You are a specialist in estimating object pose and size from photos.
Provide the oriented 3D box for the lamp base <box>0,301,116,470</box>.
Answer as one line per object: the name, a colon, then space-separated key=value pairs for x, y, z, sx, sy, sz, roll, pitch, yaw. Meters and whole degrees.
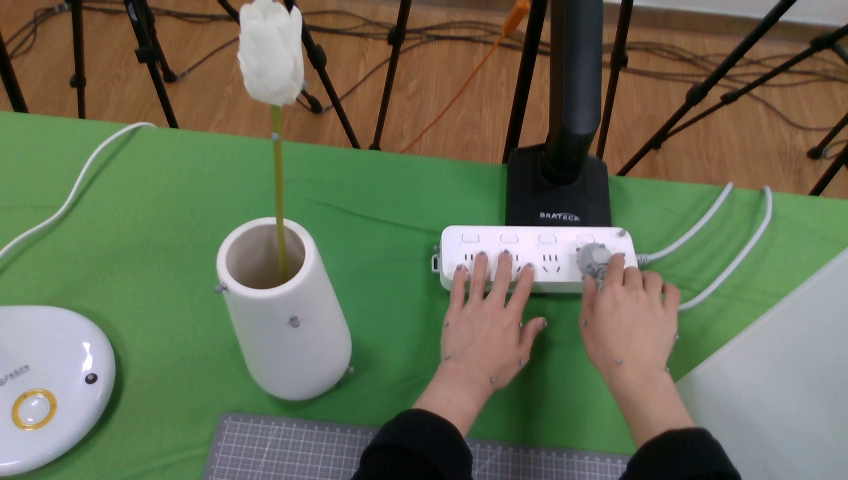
lamp base: x=-0.378 y=0.083 z=0.500 sx=0.178 sy=0.182 sz=0.160 roll=35 pitch=62 yaw=21

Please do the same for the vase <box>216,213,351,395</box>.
vase: x=-0.118 y=0.060 z=0.518 sx=0.098 sy=0.201 sz=0.097 roll=1 pitch=57 yaw=0

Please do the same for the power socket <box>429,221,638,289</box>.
power socket: x=0.119 y=0.016 z=0.655 sx=0.227 sy=0.033 sz=0.071 roll=1 pitch=58 yaw=-3

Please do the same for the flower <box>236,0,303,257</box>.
flower: x=-0.107 y=0.002 z=0.458 sx=0.038 sy=0.364 sz=0.043 roll=-3 pitch=40 yaw=-13

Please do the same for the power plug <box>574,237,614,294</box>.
power plug: x=0.172 y=0.029 z=0.623 sx=0.035 sy=0.053 sz=0.072 roll=10 pitch=60 yaw=4

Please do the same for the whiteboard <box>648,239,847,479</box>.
whiteboard: x=0.378 y=0.123 z=0.478 sx=0.144 sy=0.307 sz=0.215 roll=-13 pitch=57 yaw=-33
